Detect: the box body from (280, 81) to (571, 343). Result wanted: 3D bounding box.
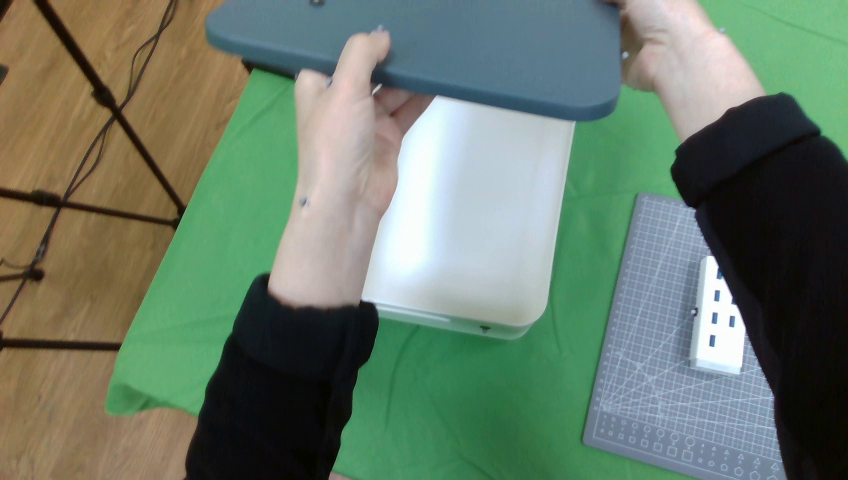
[{"bbox_3d":[0.024,-0.082,0.677,0.254,0.161,0.362,9,74,8],"label":"box body"}]

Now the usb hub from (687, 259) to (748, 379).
[{"bbox_3d":[0.323,0.086,0.666,0.049,0.025,0.124,11,75,9],"label":"usb hub"}]

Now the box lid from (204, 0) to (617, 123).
[{"bbox_3d":[0.021,-0.202,0.488,0.263,0.015,0.368,11,41,7],"label":"box lid"}]
